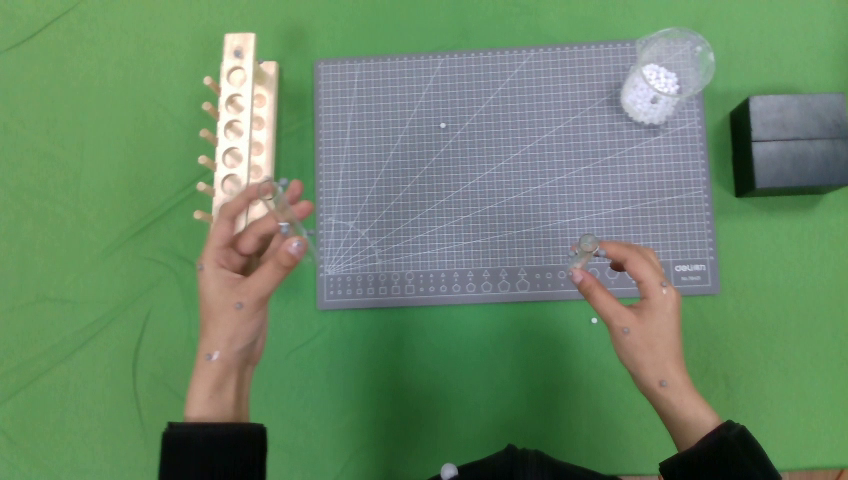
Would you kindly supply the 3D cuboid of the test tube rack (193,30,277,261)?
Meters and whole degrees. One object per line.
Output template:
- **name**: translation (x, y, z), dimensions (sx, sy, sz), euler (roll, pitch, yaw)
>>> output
- **test tube rack**: translation (-0.215, -0.101, 0.678), dimensions (0.067, 0.085, 0.241), euler (0, 83, 4)

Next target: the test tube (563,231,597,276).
- **test tube**: translation (0.135, 0.014, 0.531), dimensions (0.017, 0.151, 0.017), euler (-2, 78, 9)

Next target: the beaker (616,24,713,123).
- **beaker**: translation (0.249, -0.175, 0.650), dimensions (0.084, 0.100, 0.074), euler (35, 86, 8)

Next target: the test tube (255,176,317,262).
- **test tube**: translation (-0.105, -0.011, 0.478), dimensions (0.017, 0.151, 0.017), euler (0, 70, 1)
